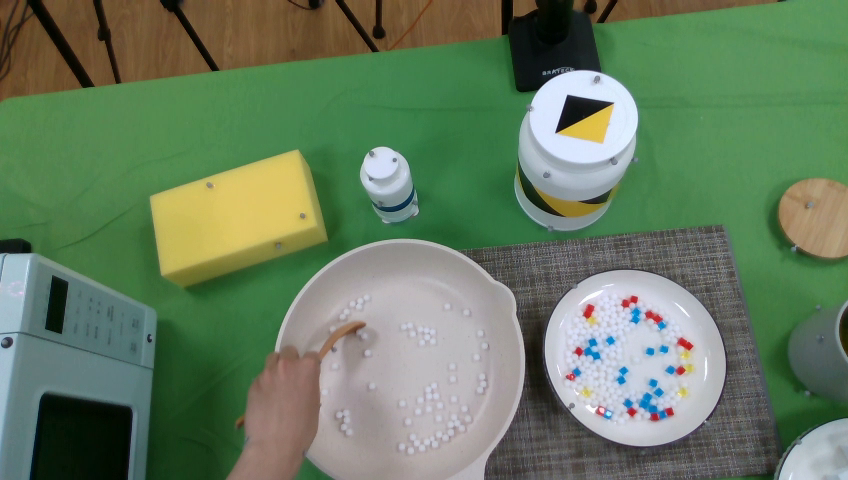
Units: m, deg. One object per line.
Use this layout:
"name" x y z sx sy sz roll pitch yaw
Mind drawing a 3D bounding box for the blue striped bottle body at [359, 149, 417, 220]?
"blue striped bottle body" -0.046 -0.075 0.778 0.063 0.121 0.062 -2 71 5

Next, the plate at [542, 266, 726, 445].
"plate" 0.244 0.134 0.719 0.209 0.038 0.207 -2 71 5

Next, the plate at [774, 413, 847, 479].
"plate" 0.480 0.292 0.648 0.207 0.039 0.206 -2 71 5

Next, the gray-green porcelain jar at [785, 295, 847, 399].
"gray-green porcelain jar" 0.470 0.117 0.661 0.106 0.127 0.105 -2 71 5

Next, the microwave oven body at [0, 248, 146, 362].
"microwave oven body" -0.504 0.263 0.628 0.326 0.262 0.438 -5 71 3

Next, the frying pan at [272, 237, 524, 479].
"frying pan" 0.017 0.222 0.676 0.307 0.103 0.483 -28 63 -3

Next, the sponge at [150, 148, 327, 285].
"sponge" -0.247 -0.031 0.813 0.207 0.061 0.117 -19 71 -2

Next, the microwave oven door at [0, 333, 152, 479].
"microwave oven door" -0.358 0.287 0.600 0.039 0.245 0.353 -6 70 3

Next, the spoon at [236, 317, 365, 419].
"spoon" -0.139 0.144 0.706 0.021 0.041 0.193 49 51 -2

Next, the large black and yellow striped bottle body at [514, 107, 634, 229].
"large black and yellow striped bottle body" 0.177 -0.103 0.733 0.130 0.185 0.130 -2 70 5

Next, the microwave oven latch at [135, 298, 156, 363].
"microwave oven latch" -0.359 0.115 0.767 0.030 0.030 0.078 -4 71 4

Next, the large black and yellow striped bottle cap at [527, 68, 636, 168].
"large black and yellow striped bottle cap" 0.170 -0.132 0.654 0.115 0.019 0.114 -1 73 5

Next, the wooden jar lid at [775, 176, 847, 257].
"wooden jar lid" 0.499 -0.029 0.764 0.108 0.021 0.107 -2 73 5

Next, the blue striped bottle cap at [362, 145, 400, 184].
"blue striped bottle cap" -0.051 -0.091 0.729 0.044 0.021 0.044 -2 68 7
